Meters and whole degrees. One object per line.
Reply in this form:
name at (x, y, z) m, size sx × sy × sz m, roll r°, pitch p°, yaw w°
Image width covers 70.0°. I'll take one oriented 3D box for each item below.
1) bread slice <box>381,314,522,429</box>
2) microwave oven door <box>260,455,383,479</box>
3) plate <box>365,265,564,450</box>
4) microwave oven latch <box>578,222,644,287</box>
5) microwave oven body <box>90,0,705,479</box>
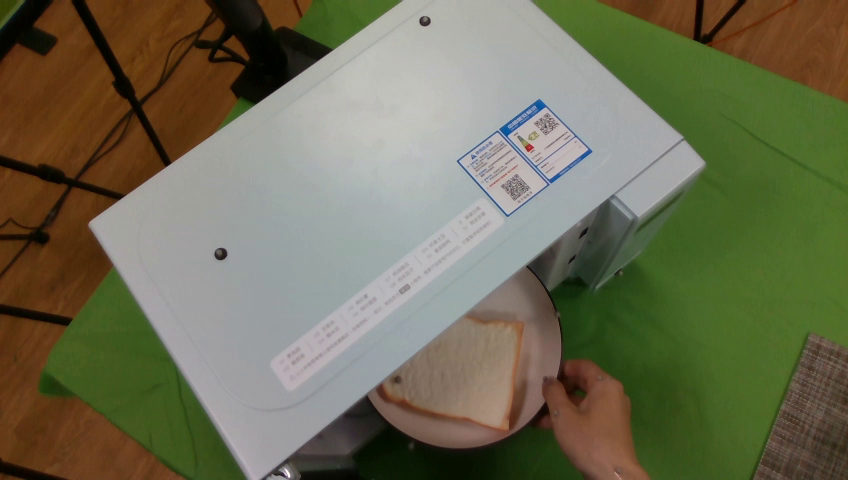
bread slice at (0.024, 0.122, 0.597) m, size 0.134 × 0.018 × 0.106 m, roll 9°, pitch 72°, yaw 1°
microwave oven door at (0.047, 0.284, 0.510) m, size 0.354 × 0.245 × 0.039 m, roll 24°, pitch 75°, yaw 12°
plate at (0.033, 0.100, 0.604) m, size 0.208 × 0.039 × 0.206 m, roll 1°, pitch 74°, yaw -1°
microwave oven latch at (0.215, 0.018, 0.694) m, size 0.079 × 0.030 × 0.030 m, roll -37°, pitch 72°, yaw -7°
microwave oven body at (-0.025, -0.013, 0.625) m, size 0.441 × 0.262 × 0.324 m, roll -38°, pitch 72°, yaw -7°
